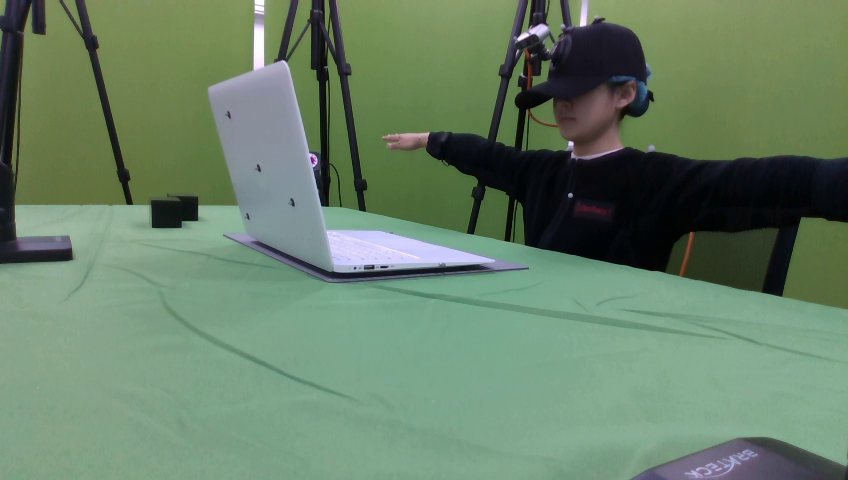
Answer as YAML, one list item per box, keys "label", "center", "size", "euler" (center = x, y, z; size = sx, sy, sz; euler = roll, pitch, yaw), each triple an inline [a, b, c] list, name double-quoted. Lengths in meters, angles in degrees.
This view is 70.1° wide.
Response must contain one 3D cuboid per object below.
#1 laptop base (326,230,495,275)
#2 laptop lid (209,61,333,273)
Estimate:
- label: "laptop base"
  center: [-0.093, 0.015, 0.884]
  size: [0.237, 0.023, 0.352]
  euler: [3, 6, -33]
- label: "laptop lid"
  center: [-0.213, -0.095, 0.790]
  size: [0.013, 0.241, 0.355]
  euler: [-18, 18, -29]
